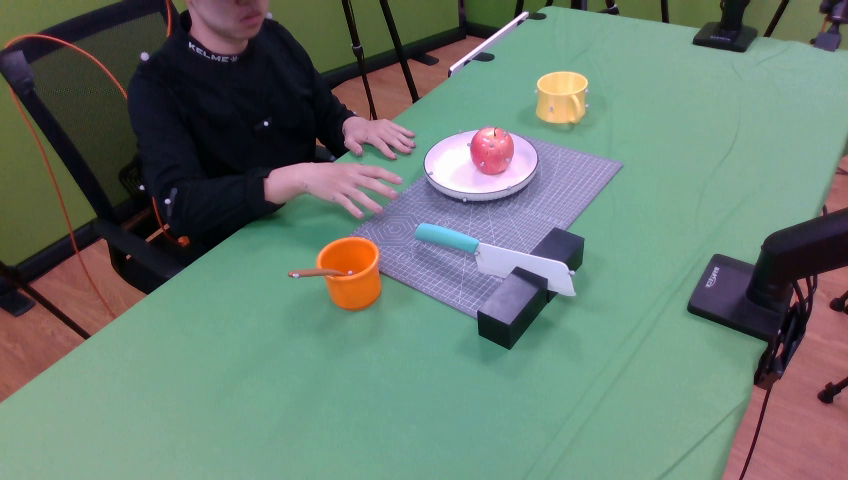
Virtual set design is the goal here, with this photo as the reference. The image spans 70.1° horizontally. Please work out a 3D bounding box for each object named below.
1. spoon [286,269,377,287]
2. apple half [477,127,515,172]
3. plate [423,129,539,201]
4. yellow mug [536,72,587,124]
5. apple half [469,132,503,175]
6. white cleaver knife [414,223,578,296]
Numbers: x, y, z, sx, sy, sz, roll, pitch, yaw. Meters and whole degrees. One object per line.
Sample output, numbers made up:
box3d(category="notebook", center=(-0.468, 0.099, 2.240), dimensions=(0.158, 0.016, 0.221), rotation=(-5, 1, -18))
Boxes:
box3d(category="spoon", center=(-0.125, 0.049, 0.831), dimensions=(0.041, 0.195, 0.021), rotation=(22, 92, 28))
box3d(category="apple half", center=(0.132, -0.164, 1.085), dimensions=(0.053, 0.075, 0.080), rotation=(-28, 41, -28))
box3d(category="plate", center=(0.103, -0.132, 1.092), dimensions=(0.209, 0.038, 0.208), rotation=(-4, 40, 4))
box3d(category="yellow mug", center=(0.285, -0.281, 1.222), dimensions=(0.100, 0.064, 0.130), rotation=(-16, 42, -9))
box3d(category="apple half", center=(0.102, -0.146, 1.067), dimensions=(0.033, 0.081, 0.080), rotation=(-28, 44, -29))
box3d(category="white cleaver knife", center=(0.093, 0.028, 0.880), dimensions=(0.284, 0.066, 0.021), rotation=(17, 45, 40))
